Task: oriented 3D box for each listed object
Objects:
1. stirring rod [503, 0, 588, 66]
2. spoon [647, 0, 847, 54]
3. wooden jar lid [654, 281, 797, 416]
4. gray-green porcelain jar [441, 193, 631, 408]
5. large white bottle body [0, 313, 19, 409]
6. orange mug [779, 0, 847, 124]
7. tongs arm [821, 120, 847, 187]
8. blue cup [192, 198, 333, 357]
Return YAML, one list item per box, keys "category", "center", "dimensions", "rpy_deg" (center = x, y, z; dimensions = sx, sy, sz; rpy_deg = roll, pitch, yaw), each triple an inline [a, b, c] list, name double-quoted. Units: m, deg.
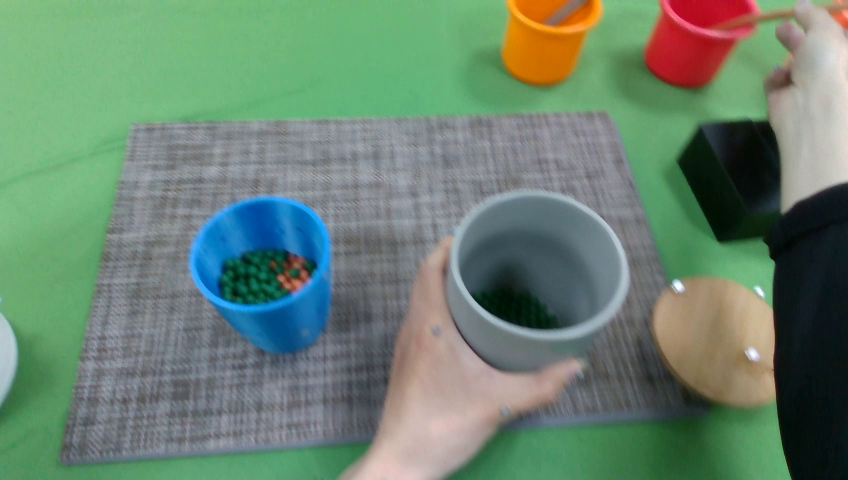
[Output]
- category: "stirring rod"
  center: [0.148, -0.230, 0.587]
  dimensions: [0.176, 0.006, 0.014]
  rpy_deg: [-37, 60, 23]
- category: "spoon"
  center: [0.303, -0.205, 0.578]
  dimensions: [0.041, 0.022, 0.192]
  rpy_deg: [-44, 26, -26]
- category: "wooden jar lid"
  center: [0.225, 0.082, 0.461]
  dimensions: [0.108, 0.021, 0.107]
  rpy_deg: [4, 56, -5]
- category: "gray-green porcelain jar"
  center: [0.066, 0.048, 0.405]
  dimensions: [0.106, 0.127, 0.105]
  rpy_deg: [2, 57, -2]
- category: "large white bottle body"
  center: [-0.342, 0.051, 0.341]
  dimensions: [0.131, 0.186, 0.129]
  rpy_deg: [2, 57, -3]
- category: "orange mug"
  center: [0.426, -0.176, 0.596]
  dimensions: [0.083, 0.101, 0.125]
  rpy_deg: [-4, 53, -6]
- category: "tongs arm"
  center: [0.424, 0.053, 0.487]
  dimensions: [0.051, 0.027, 0.381]
  rpy_deg: [0, 58, -8]
- category: "blue cup"
  center: [-0.101, 0.035, 0.416]
  dimensions: [0.093, 0.101, 0.092]
  rpy_deg: [1, 58, -2]
